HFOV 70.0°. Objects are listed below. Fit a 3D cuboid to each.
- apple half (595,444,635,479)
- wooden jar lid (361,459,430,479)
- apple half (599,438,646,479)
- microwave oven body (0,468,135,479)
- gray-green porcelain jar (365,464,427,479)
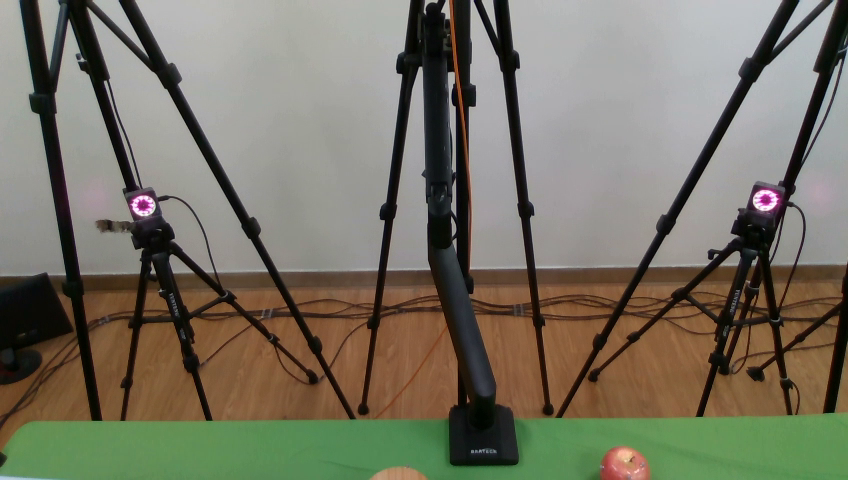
[{"bbox_3d":[0.301,0.378,0.983,0.033,0.082,0.080,-17,38,-28],"label":"apple half"},{"bbox_3d":[-0.041,0.364,0.863,0.108,0.021,0.107,-1,33,1],"label":"wooden jar lid"},{"bbox_3d":[0.333,0.367,1.002,0.053,0.075,0.080,-16,34,-28],"label":"apple half"},{"bbox_3d":[-0.530,0.510,0.656,0.326,0.262,0.438,2,36,4],"label":"microwave oven body"},{"bbox_3d":[-0.040,0.415,0.899,0.106,0.127,0.105,-1,35,1],"label":"gray-green porcelain jar"}]
